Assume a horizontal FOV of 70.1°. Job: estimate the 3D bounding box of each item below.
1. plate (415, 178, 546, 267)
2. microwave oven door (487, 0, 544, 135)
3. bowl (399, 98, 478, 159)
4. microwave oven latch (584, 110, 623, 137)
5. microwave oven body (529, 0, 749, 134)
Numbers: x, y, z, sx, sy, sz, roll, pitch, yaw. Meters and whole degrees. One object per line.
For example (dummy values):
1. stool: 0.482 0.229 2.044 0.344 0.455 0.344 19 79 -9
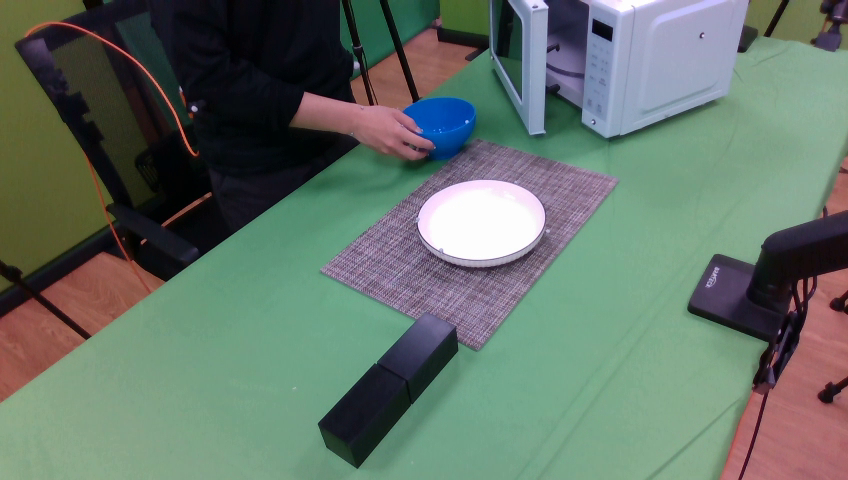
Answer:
1. plate: 0.091 -0.026 0.970 0.207 0.039 0.206 -4 41 4
2. microwave oven door: 0.181 -0.405 1.222 0.039 0.245 0.353 -9 40 -3
3. bowl: 0.030 -0.209 1.168 0.151 0.077 0.150 -2 35 2
4. microwave oven latch: 0.337 -0.222 1.142 0.030 0.029 0.078 -21 42 -14
5. microwave oven body: 0.382 -0.444 1.246 0.327 0.261 0.437 -22 42 -16
